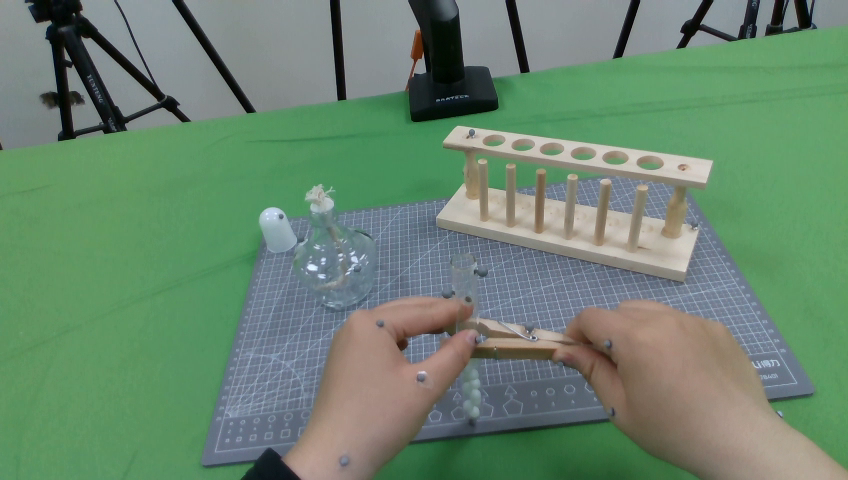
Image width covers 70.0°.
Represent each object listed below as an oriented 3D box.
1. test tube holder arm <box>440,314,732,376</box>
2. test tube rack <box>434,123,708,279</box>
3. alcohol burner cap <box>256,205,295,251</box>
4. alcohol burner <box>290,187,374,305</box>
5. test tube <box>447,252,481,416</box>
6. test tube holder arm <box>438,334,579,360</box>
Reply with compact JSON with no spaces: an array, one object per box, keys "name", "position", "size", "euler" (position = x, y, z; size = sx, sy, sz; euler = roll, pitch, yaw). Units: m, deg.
[{"name":"test tube holder arm","position":[0.098,0.066,0.383],"size":[0.178,0.015,0.013],"euler":[6,55,11]},{"name":"test tube rack","position":[0.126,-0.042,0.571],"size":[0.241,0.086,0.066],"euler":[14,45,26]},{"name":"alcohol burner cap","position":[-0.156,-0.015,0.631],"size":[0.034,0.048,0.033],"euler":[-5,41,4]},{"name":"alcohol burner","position":[-0.085,0.001,0.541],"size":[0.078,0.120,0.077],"euler":[-4,41,4]},{"name":"test tube","position":[0.028,0.068,0.396],"size":[0.017,0.151,0.017],"euler":[-4,40,3]},{"name":"test tube holder arm","position":[0.053,0.068,0.386],"size":[0.088,0.015,0.010],"euler":[-4,53,4]}]
